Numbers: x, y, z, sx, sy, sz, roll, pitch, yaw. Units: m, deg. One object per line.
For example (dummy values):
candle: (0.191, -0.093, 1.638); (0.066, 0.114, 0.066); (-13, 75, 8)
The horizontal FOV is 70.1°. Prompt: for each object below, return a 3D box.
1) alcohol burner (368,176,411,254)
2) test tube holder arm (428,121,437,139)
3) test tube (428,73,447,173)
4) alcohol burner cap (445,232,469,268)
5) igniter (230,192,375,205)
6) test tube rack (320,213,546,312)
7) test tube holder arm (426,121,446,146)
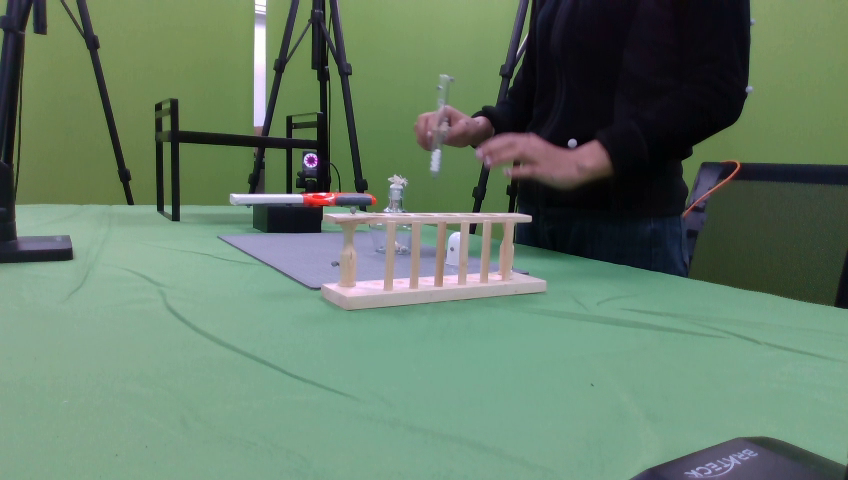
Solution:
alcohol burner: (-0.045, -0.038, 0.913); (0.078, 0.119, 0.078); (4, 7, 0)
test tube holder arm: (0.014, -0.171, 0.943); (0.010, 0.015, 0.088); (0, 1, 4)
test tube: (0.020, -0.177, 0.921); (0.017, 0.150, 0.017); (6, 4, 0)
alcohol burner cap: (0.045, 0.013, 0.829); (0.034, 0.048, 0.034); (2, 8, 0)
igniter: (-0.226, -0.079, 1.161); (0.278, 0.025, 0.057); (-2, 15, -28)
test tube rack: (0.018, 0.017, 0.638); (0.244, 0.085, 0.066); (-2, 9, -31)
test tube holder arm: (0.018, -0.172, 0.988); (0.013, 0.015, 0.178); (0, 1, -5)
